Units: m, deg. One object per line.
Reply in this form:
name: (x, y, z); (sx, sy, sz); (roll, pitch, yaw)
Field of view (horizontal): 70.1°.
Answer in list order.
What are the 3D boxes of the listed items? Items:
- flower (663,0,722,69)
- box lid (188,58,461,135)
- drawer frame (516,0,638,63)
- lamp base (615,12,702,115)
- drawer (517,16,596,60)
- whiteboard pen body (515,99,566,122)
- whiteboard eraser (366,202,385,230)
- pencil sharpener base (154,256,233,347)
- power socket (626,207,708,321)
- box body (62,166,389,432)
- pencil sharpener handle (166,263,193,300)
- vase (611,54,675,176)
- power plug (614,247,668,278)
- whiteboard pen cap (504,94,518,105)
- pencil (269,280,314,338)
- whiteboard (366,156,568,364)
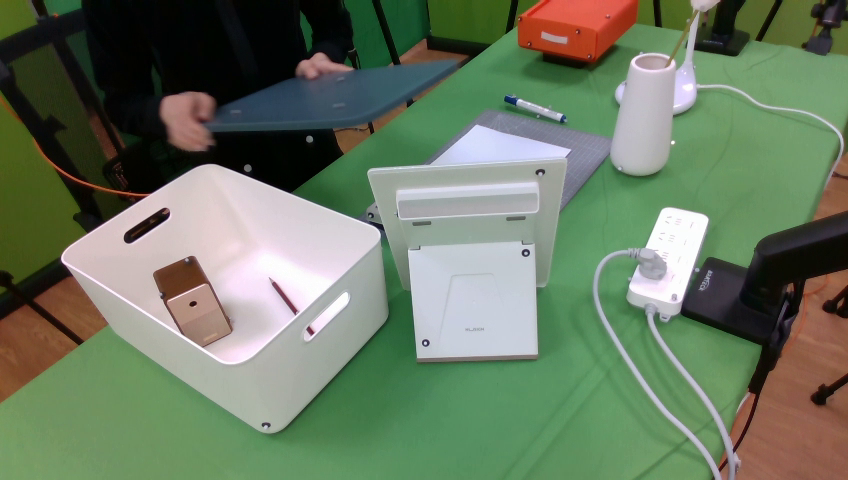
flower: (0.379, -0.261, 0.965); (0.044, 0.362, 0.038); (20, 53, 5)
box lid: (-0.150, -0.214, 0.907); (0.369, 0.015, 0.264); (4, 32, 34)
drawer frame: (0.355, -0.508, 1.410); (0.200, 0.083, 0.214); (23, 51, 32)
lamp base: (0.484, -0.364, 1.211); (0.180, 0.181, 0.159); (-15, 41, -14)
drawer: (0.352, -0.506, 1.405); (0.193, 0.073, 0.212); (23, 49, 32)
whiteboard pen body: (0.233, -0.274, 1.262); (0.139, 0.017, 0.017); (28, 51, 29)
whiteboard eraser: (-0.038, -0.038, 1.006); (0.112, 0.042, 0.055); (16, 47, 25)
pencil sharpener base: (-0.321, 0.087, 0.843); (0.061, 0.107, 0.076); (-27, 44, -20)
power socket: (0.359, 0.025, 0.886); (0.072, 0.033, 0.227); (16, 46, 26)
box body: (-0.255, 0.065, 0.827); (0.361, 0.161, 0.255); (21, 48, 29)
pencil sharpener handle: (-0.352, 0.054, 0.868); (0.036, 0.068, 0.030); (-17, 40, -28)
vase: (0.377, -0.209, 1.031); (0.098, 0.201, 0.097); (-3, 40, 3)
power plug: (0.306, 0.031, 0.851); (0.072, 0.053, 0.035); (24, 49, 33)
whiteboard pen cap: (0.190, -0.299, 1.292); (0.033, 0.018, 0.018); (30, 52, 28)
pencil: (-0.188, 0.106, 0.880); (0.012, 0.012, 0.192); (-28, 42, -23)
whiteboard: (0.059, 0.050, 0.738); (0.217, 0.307, 0.143); (-2, 60, 6)
